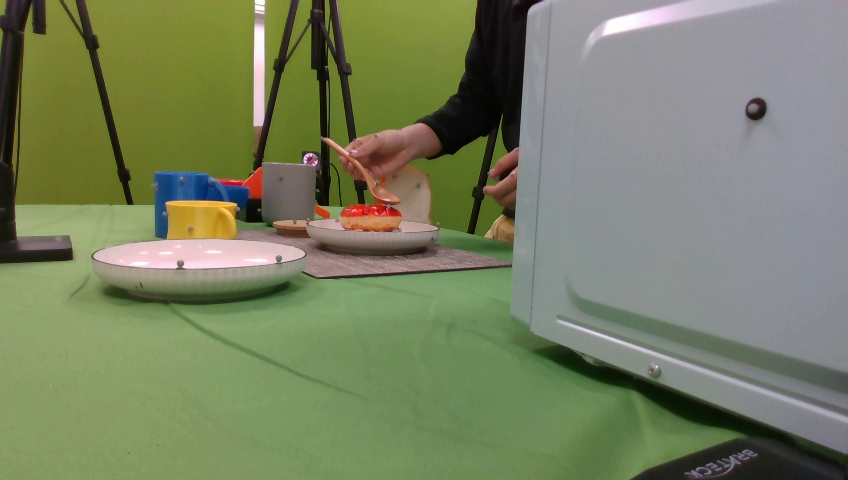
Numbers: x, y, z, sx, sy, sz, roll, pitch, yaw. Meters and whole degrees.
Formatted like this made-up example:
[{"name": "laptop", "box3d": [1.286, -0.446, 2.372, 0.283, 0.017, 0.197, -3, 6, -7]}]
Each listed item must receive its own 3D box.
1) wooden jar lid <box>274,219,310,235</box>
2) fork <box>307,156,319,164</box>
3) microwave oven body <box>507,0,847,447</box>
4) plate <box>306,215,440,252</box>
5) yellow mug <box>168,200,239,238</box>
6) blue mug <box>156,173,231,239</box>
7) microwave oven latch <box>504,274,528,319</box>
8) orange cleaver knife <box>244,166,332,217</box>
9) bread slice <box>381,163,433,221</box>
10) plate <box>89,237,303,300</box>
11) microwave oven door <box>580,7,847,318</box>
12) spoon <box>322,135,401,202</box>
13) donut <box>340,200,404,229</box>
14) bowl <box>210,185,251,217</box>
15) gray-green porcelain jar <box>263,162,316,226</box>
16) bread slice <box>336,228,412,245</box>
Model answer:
[{"name": "wooden jar lid", "box3d": [-0.213, -0.023, 1.080, 0.108, 0.020, 0.108, 3, 7, 0]}, {"name": "fork", "box3d": [-0.331, -0.144, 1.505, 0.207, 0.018, 0.028, -42, -21, 22]}, {"name": "microwave oven body", "box3d": [0.331, -0.042, 0.425, 0.444, 0.260, 0.324, -2, 8, -31]}, {"name": "plate", "box3d": [-0.079, -0.011, 0.950, 0.209, 0.038, 0.209, 2, 8, 0]}, {"name": "yellow mug", "box3d": [-0.319, -0.023, 0.904, 0.130, 0.064, 0.100, 9, 11, 36]}, {"name": "blue mug", "box3d": [-0.381, -0.057, 1.004, 0.117, 0.106, 0.082, 0, 8, -12]}, {"name": "microwave oven latch", "box3d": [0.100, 0.041, 0.471, 0.079, 0.029, 0.030, -1, 8, -28]}, {"name": "orange cleaver knife", "box3d": [-0.301, -0.089, 1.351, 0.212, 0.077, 0.012, 32, -11, -34]}, {"name": "bread slice", "box3d": [-0.035, -0.076, 1.124, 0.107, 0.134, 0.018, -4, 0, -26]}, {"name": "plate", "box3d": [-0.233, 0.029, 0.637, 0.208, 0.039, 0.207, 2, 7, 0]}, {"name": "microwave oven door", "box3d": [0.295, -0.067, 0.570, 0.358, 0.243, 0.039, -3, 8, -31]}, {"name": "spoon", "box3d": [-0.103, -0.116, 0.962, 0.042, 0.021, 0.193, -7, 46, -49]}, {"name": "donut", "box3d": [-0.081, -0.038, 0.944, 0.099, 0.048, 0.099, 0, 7, 0]}, {"name": "bowl", "box3d": [-0.408, -0.064, 1.155, 0.151, 0.077, 0.151, 2, 8, 0]}, {"name": "gray-green porcelain jar", "box3d": [-0.271, -0.092, 1.217, 0.106, 0.126, 0.106, 2, 7, 0]}, {"name": "bread slice", "box3d": [-0.074, -0.006, 0.938, 0.105, 0.019, 0.131, -2, 5, -19]}]
